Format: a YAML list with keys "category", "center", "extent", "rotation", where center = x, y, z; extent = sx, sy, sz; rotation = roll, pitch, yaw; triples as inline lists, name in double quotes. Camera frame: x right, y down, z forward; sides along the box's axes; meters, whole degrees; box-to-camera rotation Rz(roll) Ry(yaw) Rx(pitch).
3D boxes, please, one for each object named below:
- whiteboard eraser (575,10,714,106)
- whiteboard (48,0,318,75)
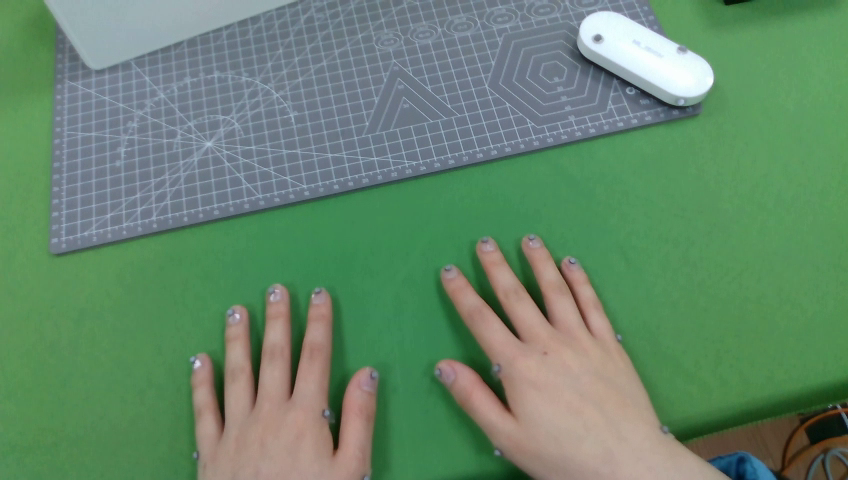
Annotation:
- category: "whiteboard eraser"
  center: [0.156, -0.130, 0.430]
  extent: [0.100, 0.019, 0.041]
  rotation: [36, 72, 17]
- category: "whiteboard"
  center: [-0.196, -0.310, 0.401]
  extent: [0.217, 0.308, 0.142]
  rotation: [-22, 47, -7]
